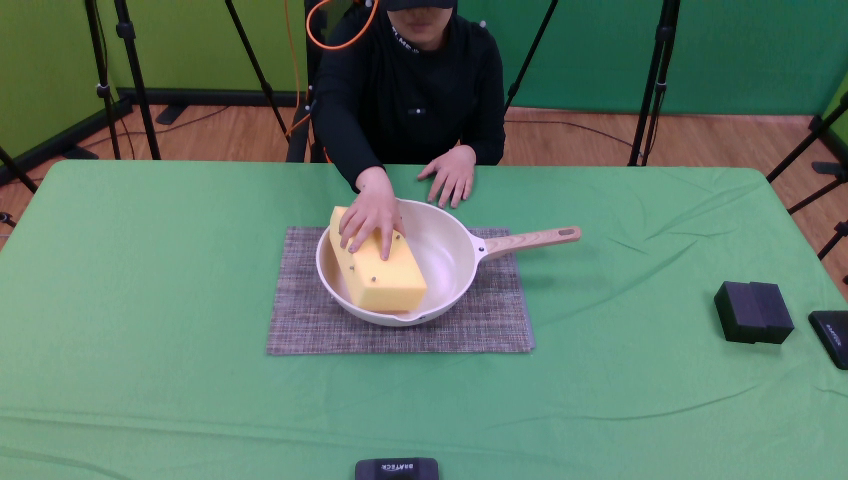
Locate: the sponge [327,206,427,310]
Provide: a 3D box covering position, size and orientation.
[{"bbox_3d":[-0.089,0.030,1.083,0.118,0.061,0.205,2,42,-30],"label":"sponge"}]

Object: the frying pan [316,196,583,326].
[{"bbox_3d":[0.054,0.027,1.114,0.488,0.103,0.304,-9,48,-1],"label":"frying pan"}]
